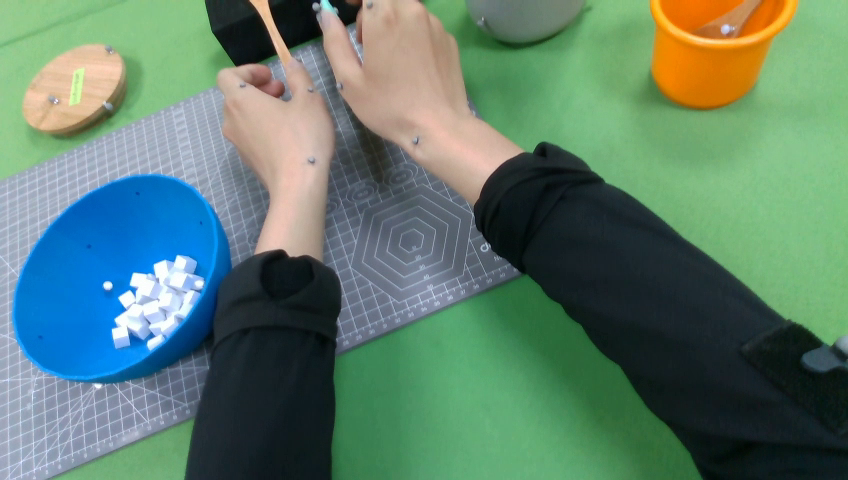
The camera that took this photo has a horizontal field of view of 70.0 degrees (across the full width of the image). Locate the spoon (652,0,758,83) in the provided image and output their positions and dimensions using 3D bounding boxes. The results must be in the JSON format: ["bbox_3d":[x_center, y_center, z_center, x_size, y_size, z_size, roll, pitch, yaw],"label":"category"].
[{"bbox_3d":[0.234,-0.173,0.399,0.022,0.194,0.041,4,59,-36],"label":"spoon"}]

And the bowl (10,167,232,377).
[{"bbox_3d":[-0.197,0.032,0.433,0.151,0.077,0.150,-5,63,11],"label":"bowl"}]

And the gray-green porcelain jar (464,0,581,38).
[{"bbox_3d":[0.076,-0.235,0.479,0.105,0.128,0.105,-5,62,11],"label":"gray-green porcelain jar"}]

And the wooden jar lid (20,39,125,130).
[{"bbox_3d":[-0.342,-0.151,0.596,0.108,0.021,0.107,-4,63,9],"label":"wooden jar lid"}]

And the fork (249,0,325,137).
[{"bbox_3d":[-0.130,-0.180,0.522,0.028,0.019,0.206,-23,79,-18],"label":"fork"}]

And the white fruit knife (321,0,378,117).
[{"bbox_3d":[-0.083,-0.198,0.523,0.016,0.027,0.206,-24,75,0],"label":"white fruit knife"}]
